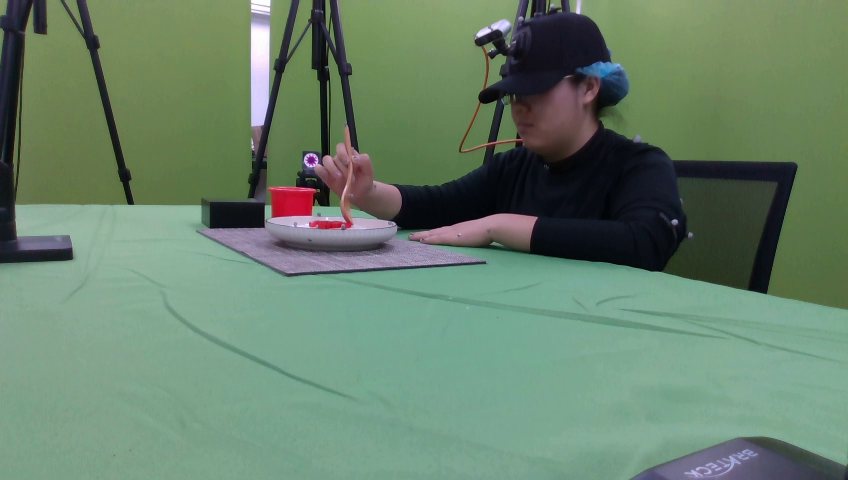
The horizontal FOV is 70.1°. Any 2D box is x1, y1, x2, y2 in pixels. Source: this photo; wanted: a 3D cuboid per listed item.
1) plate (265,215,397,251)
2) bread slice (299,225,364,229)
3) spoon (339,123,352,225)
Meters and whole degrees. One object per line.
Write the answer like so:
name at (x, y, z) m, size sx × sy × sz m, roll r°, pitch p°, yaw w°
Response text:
plate at (-0.147, -0.012, 0.963) m, size 0.209 × 0.038 × 0.209 m, roll 3°, pitch 7°, yaw 0°
bread slice at (-0.154, -0.012, 0.973) m, size 0.132 × 0.019 × 0.104 m, roll -1°, pitch 7°, yaw -31°
spoon at (-0.130, -0.114, 1.025) m, size 0.021 × 0.193 × 0.042 m, roll -5°, pitch -22°, yaw 12°
